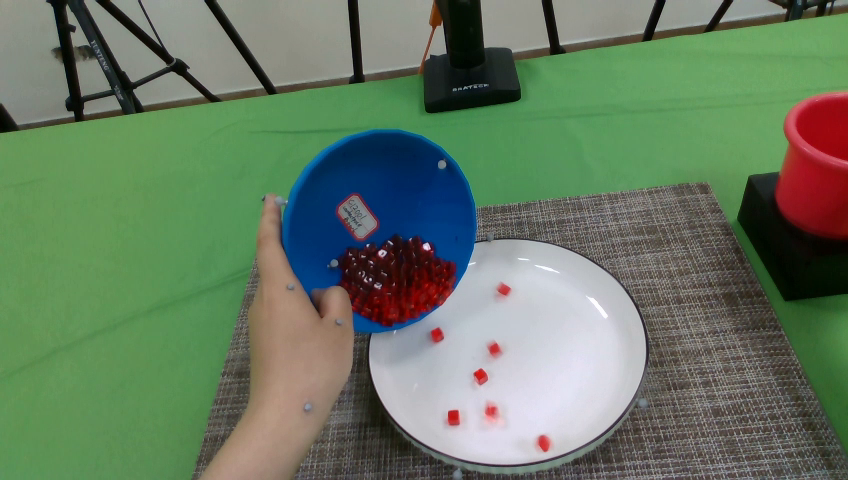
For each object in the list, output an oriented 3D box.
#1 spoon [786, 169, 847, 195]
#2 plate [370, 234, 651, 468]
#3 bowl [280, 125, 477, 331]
[{"bbox_3d":[0.311,-0.053,0.396,0.041,0.194,0.021,-24,85,-6],"label":"spoon"},{"bbox_3d":[0.064,0.080,0.466,0.207,0.039,0.205,-6,44,6],"label":"plate"},{"bbox_3d":[-0.043,-0.014,0.466,0.151,0.152,0.076,-30,24,-18],"label":"bowl"}]
